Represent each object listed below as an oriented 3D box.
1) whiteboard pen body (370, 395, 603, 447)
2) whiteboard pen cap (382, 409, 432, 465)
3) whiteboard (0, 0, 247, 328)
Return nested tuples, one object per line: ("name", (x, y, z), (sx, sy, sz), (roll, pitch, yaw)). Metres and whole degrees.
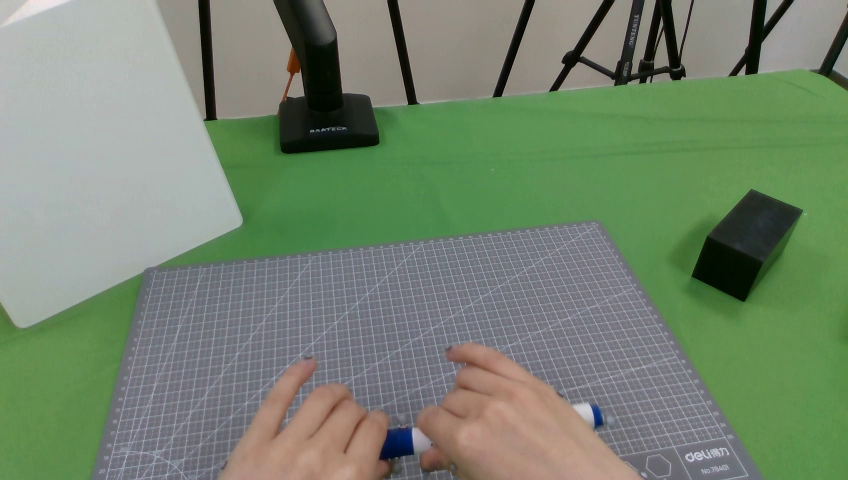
("whiteboard pen body", (0.037, 0.111, 0.364), (0.141, 0.017, 0.017), (-8, 41, -2))
("whiteboard pen cap", (-0.009, 0.120, 0.370), (0.033, 0.018, 0.018), (-48, 50, 4))
("whiteboard", (-0.337, -0.120, 0.552), (0.217, 0.308, 0.142), (-31, 30, -30))
